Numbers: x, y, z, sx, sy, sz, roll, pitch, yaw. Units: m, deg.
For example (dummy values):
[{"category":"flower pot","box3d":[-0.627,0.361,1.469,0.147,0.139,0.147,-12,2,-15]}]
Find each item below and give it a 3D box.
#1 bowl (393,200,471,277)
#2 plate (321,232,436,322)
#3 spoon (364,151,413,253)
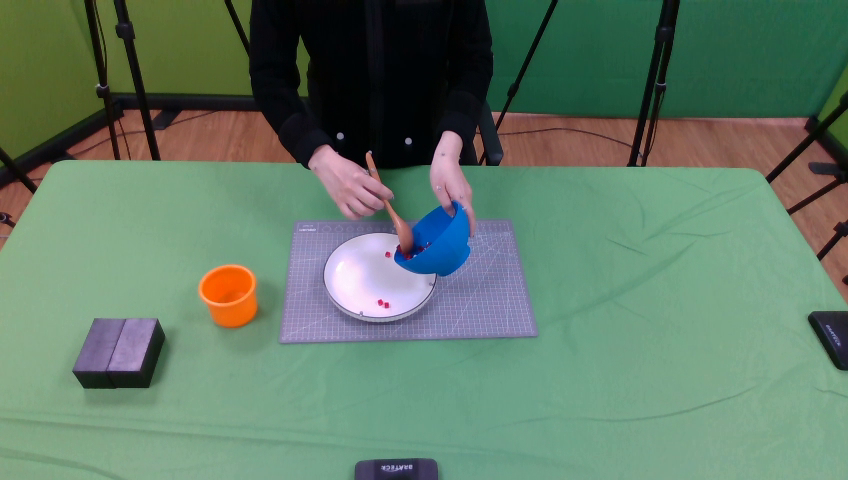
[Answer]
[{"category":"bowl","box3d":[0.027,0.010,1.041,0.077,0.151,0.151,47,47,-17]},{"category":"plate","box3d":[-0.083,0.070,1.109,0.209,0.038,0.208,3,46,-2]},{"category":"spoon","box3d":[-0.062,-0.063,1.037,0.021,0.194,0.041,-8,28,41]}]
